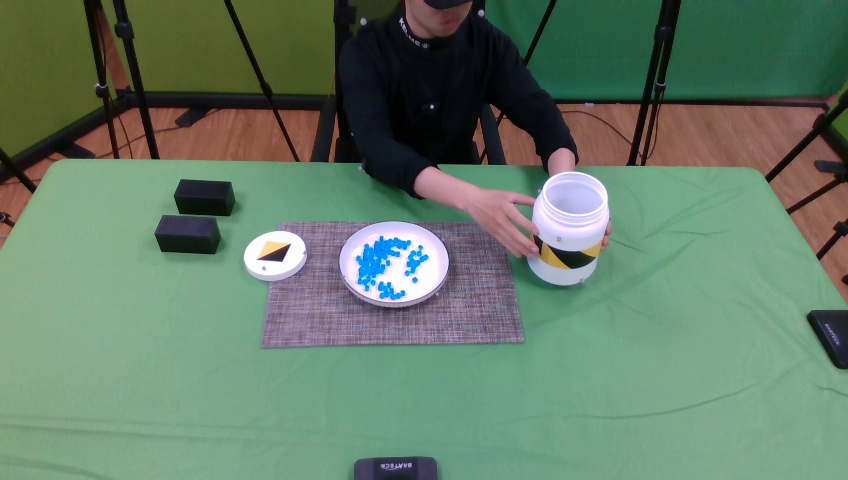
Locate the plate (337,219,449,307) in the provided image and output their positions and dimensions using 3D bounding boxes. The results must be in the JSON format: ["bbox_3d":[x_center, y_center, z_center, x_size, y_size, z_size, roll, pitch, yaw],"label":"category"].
[{"bbox_3d":[-0.057,0.045,1.132,0.208,0.039,0.206,2,46,-2],"label":"plate"}]

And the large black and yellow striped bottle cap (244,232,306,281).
[{"bbox_3d":[-0.282,0.030,1.145,0.115,0.019,0.114,-1,45,1],"label":"large black and yellow striped bottle cap"}]

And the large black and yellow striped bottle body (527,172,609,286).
[{"bbox_3d":[0.258,-0.020,1.090,0.131,0.185,0.130,-1,49,2],"label":"large black and yellow striped bottle body"}]
